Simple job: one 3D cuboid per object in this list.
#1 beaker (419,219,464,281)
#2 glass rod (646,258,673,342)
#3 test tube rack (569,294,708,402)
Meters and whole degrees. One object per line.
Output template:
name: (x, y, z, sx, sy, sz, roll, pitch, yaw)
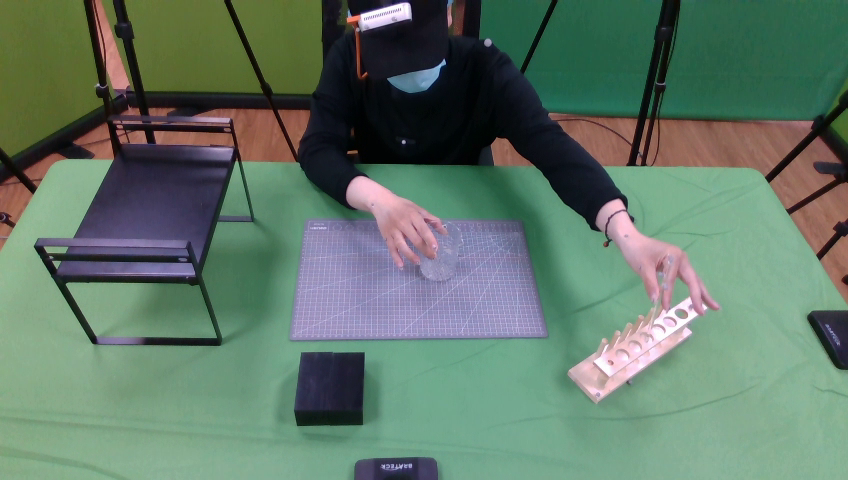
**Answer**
beaker: (0.031, 0.022, 1.117, 0.084, 0.101, 0.073, 18, 48, 12)
glass rod: (0.352, 0.096, 0.912, 0.008, 0.201, 0.008, -4, 46, 4)
test tube rack: (0.360, 0.167, 1.015, 0.242, 0.085, 0.066, -25, 53, -25)
